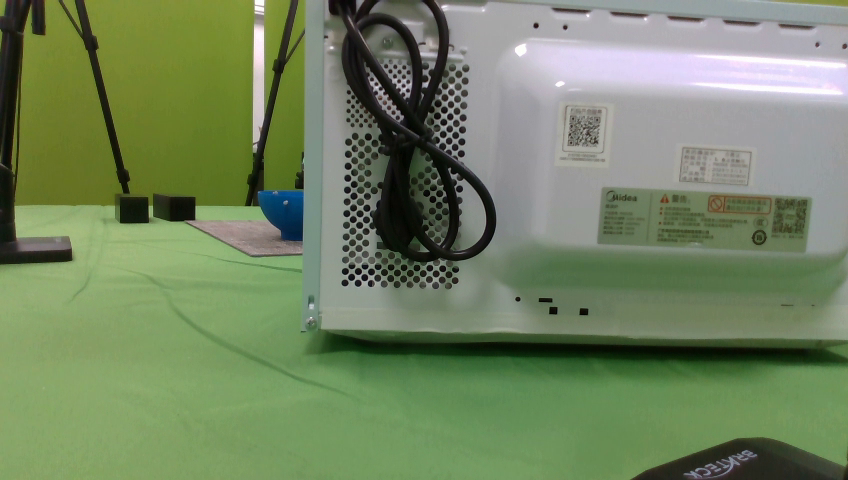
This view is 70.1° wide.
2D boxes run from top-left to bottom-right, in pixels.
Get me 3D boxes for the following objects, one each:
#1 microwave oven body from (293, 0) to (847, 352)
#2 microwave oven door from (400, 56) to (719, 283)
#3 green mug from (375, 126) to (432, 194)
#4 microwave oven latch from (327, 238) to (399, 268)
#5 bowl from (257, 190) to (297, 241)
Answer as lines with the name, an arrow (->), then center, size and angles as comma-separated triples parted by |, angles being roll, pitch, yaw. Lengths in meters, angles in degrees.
microwave oven body -> 0.122, -0.055, 0.550 | 0.442, 0.260, 0.325 | 3, 7, -5
microwave oven door -> 0.155, -0.077, 0.698 | 0.356, 0.243, 0.039 | 2, 8, -5
green mug -> -0.034, -0.132, 1.010 | 0.093, 0.105, 0.125 | 3, 6, -8
microwave oven latch -> -0.069, 0.015, 0.694 | 0.079, 0.029, 0.030 | 3, 7, -3
bowl -> -0.206, -0.041, 1.027 | 0.151, 0.077, 0.151 | 3, 8, 0
